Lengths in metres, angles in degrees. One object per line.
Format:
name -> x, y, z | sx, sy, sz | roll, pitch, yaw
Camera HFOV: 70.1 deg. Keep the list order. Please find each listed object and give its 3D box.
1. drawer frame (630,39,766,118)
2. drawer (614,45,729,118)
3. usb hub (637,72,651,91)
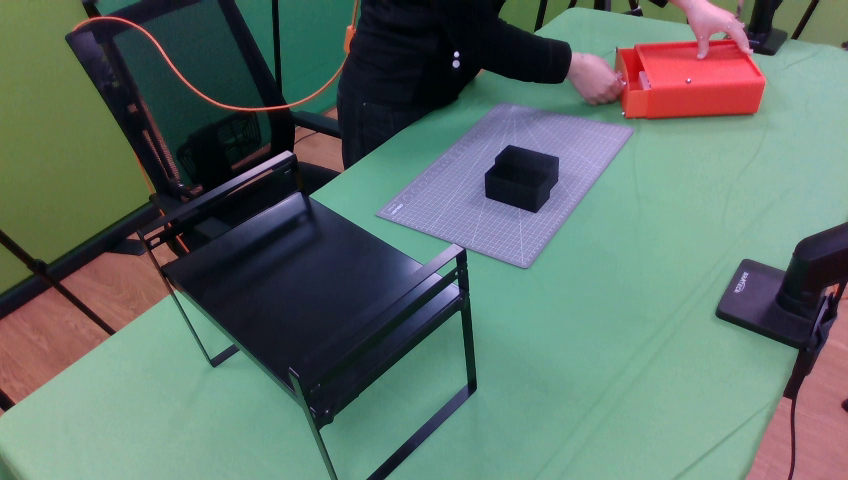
drawer frame -> 0.544, -0.332, 1.233 | 0.213, 0.083, 0.201 | -1, 41, 6
drawer -> 0.507, -0.329, 1.241 | 0.211, 0.073, 0.194 | 1, 40, 7
usb hub -> 0.476, -0.312, 1.248 | 0.049, 0.025, 0.124 | 0, 38, 8
